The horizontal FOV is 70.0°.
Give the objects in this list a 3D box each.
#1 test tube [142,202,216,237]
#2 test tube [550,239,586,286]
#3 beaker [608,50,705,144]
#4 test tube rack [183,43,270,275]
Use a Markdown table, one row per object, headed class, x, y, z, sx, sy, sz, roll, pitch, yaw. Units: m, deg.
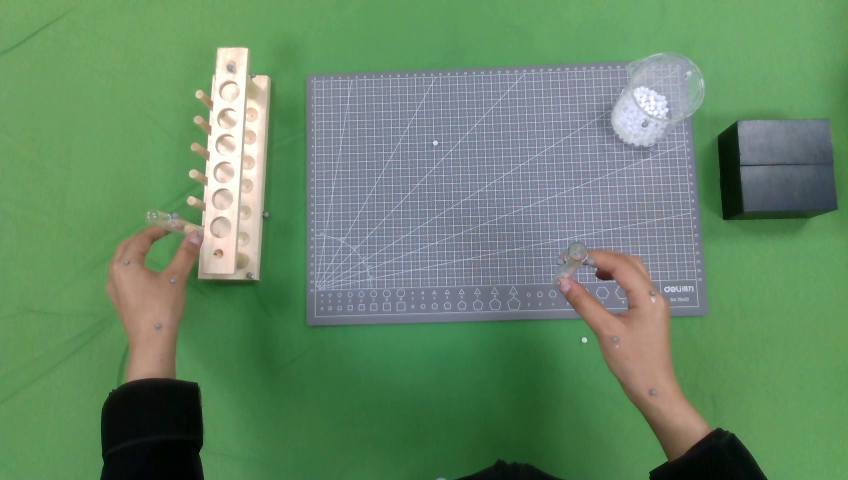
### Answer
| class | x | y | z | sx | sy | sz | roll | pitch | yaw |
| --- | --- | --- | --- | --- | --- | --- | --- | --- | --- |
| test tube | -0.247 | -0.018 | 0.619 | 0.017 | 0.151 | 0.017 | 0 | 83 | 1 |
| test tube | 0.124 | 0.022 | 0.530 | 0.017 | 0.151 | 0.017 | -1 | 77 | 7 |
| beaker | 0.244 | -0.152 | 0.659 | 0.084 | 0.100 | 0.074 | 36 | 85 | 7 |
| test tube rack | -0.223 | -0.085 | 0.673 | 0.067 | 0.085 | 0.241 | 1 | 83 | 2 |
